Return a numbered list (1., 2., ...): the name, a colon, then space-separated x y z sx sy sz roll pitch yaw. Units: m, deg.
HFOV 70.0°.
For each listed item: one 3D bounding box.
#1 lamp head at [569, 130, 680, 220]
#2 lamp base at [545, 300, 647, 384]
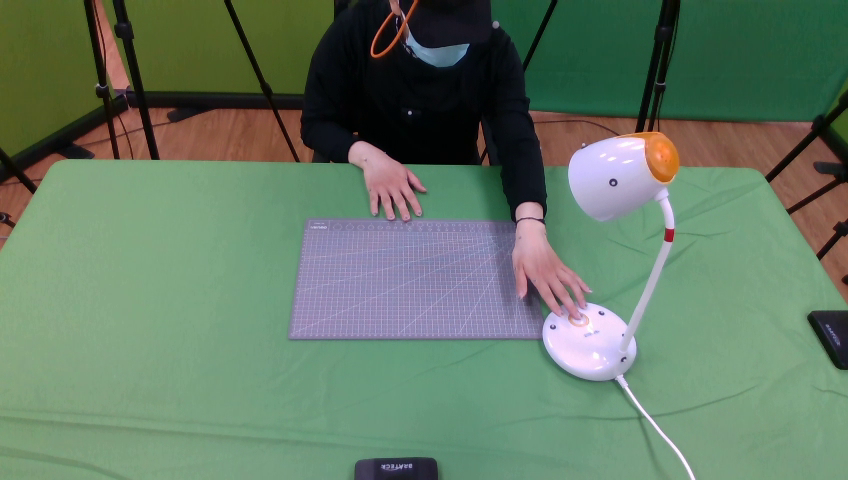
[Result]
1. lamp head: 0.272 -0.090 0.799 0.113 0.122 0.112 7 78 -33
2. lamp base: 0.299 0.124 0.984 0.161 0.181 0.178 -23 55 -23
